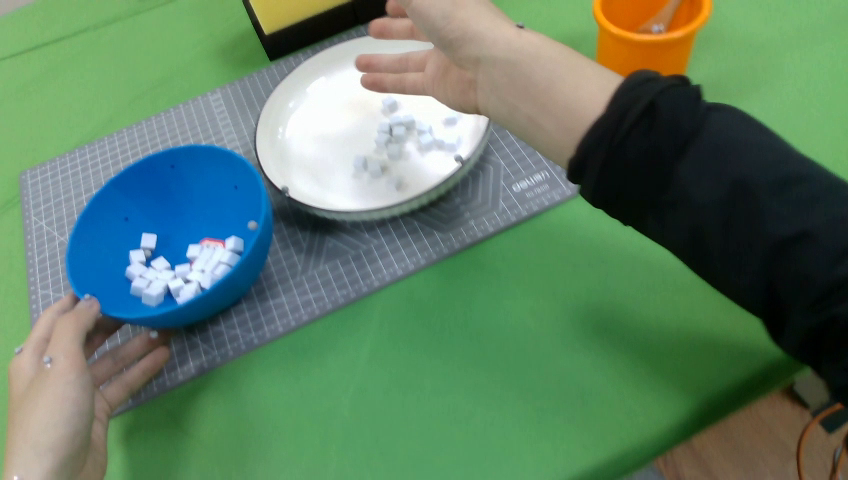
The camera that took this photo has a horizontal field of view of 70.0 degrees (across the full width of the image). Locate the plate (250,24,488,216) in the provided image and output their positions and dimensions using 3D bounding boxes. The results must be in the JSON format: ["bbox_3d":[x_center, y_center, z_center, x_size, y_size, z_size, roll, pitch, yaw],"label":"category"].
[{"bbox_3d":[-0.047,-0.105,0.532,0.209,0.038,0.207,-5,59,8],"label":"plate"}]

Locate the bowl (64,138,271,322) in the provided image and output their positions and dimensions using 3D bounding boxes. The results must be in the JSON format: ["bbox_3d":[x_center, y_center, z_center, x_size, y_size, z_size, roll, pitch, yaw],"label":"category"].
[{"bbox_3d":[-0.181,0.004,0.467,0.151,0.077,0.150,-5,58,8],"label":"bowl"}]

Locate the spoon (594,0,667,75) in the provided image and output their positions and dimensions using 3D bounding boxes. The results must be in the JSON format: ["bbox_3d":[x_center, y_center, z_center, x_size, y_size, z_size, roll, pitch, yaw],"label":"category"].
[{"bbox_3d":[0.209,-0.216,0.488,0.022,0.194,0.041,-3,49,-46],"label":"spoon"}]

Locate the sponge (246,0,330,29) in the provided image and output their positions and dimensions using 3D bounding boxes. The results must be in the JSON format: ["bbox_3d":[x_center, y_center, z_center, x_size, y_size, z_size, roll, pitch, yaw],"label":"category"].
[{"bbox_3d":[-0.092,-0.301,0.591,0.207,0.061,0.117,-26,58,-6],"label":"sponge"}]
